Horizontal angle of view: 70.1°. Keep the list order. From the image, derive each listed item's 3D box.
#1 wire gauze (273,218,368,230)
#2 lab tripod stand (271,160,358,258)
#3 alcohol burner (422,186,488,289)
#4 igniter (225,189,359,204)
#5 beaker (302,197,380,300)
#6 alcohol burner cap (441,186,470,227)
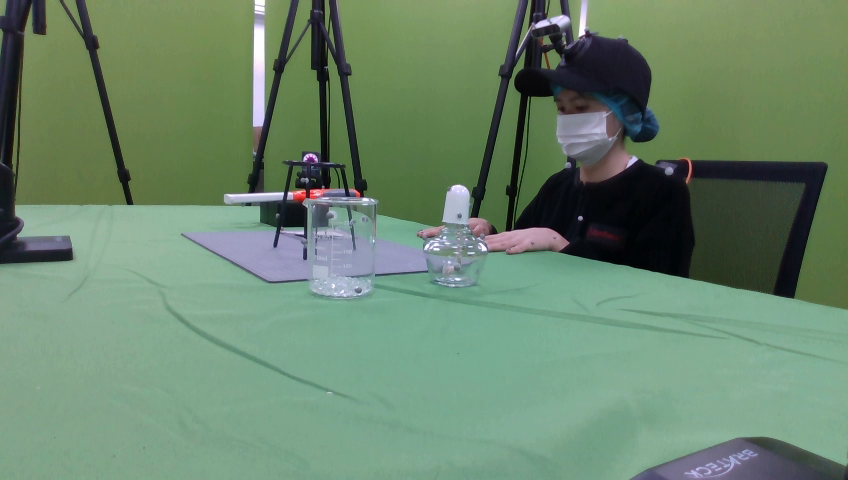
[{"bbox_3d":[-0.186,-0.028,1.089,0.124,0.011,0.122,0,7,36],"label":"wire gauze"},{"bbox_3d":[-0.159,-0.048,0.876,0.148,0.131,0.148,3,5,0],"label":"lab tripod stand"},{"bbox_3d":[0.036,-0.004,0.706,0.078,0.119,0.078,0,7,0],"label":"alcohol burner"},{"bbox_3d":[-0.264,-0.089,1.239,0.278,0.025,0.057,-5,12,-32],"label":"igniter"},{"bbox_3d":[-0.089,0.007,0.625,0.084,0.100,0.074,4,7,16],"label":"beaker"},{"bbox_3d":[0.038,-0.039,0.700,0.034,0.048,0.034,6,4,0],"label":"alcohol burner cap"}]
